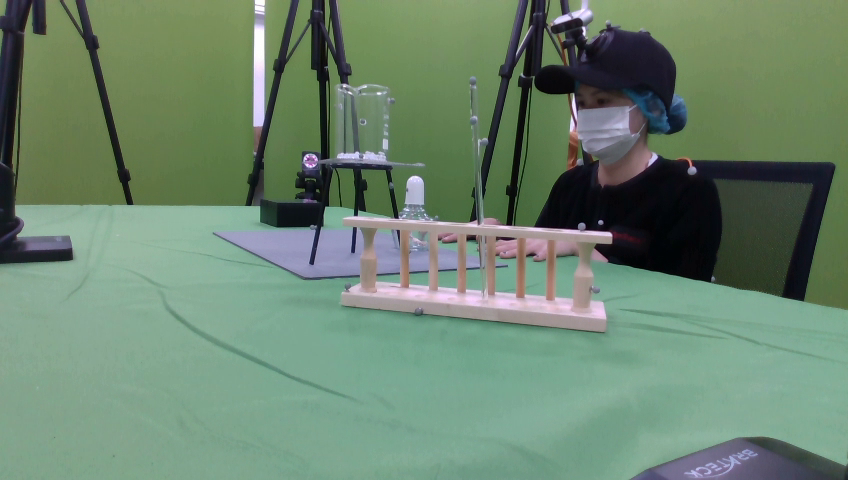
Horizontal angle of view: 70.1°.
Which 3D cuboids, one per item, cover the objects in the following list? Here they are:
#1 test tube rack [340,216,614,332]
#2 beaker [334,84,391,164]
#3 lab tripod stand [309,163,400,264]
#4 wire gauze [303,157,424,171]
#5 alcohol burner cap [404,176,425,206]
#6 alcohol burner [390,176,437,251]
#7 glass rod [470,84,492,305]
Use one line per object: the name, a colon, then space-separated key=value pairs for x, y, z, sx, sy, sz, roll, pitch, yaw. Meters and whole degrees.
test tube rack: x=0.048 y=0.026 z=0.568 sx=0.242 sy=0.085 sz=0.067 roll=4 pitch=8 yaw=13
beaker: x=-0.082 y=-0.149 z=0.792 sx=0.074 sy=0.100 sz=0.084 roll=2 pitch=5 yaw=4
lab tripod stand: x=-0.091 y=-0.037 z=0.813 sx=0.148 sy=0.131 sz=0.148 roll=1 pitch=6 yaw=0
wire gauze: x=-0.082 y=-0.101 z=0.799 sx=0.126 sy=0.011 sz=0.121 roll=1 pitch=7 yaw=-30
alcohol burner cap: x=-0.015 y=-0.077 z=0.951 sx=0.034 sy=0.048 sz=0.034 roll=3 pitch=4 yaw=0
alcohol burner: x=-0.016 y=-0.042 z=0.955 sx=0.078 sy=0.119 sz=0.078 roll=4 pitch=5 yaw=0
glass rod: x=0.051 y=-0.036 z=0.535 sx=0.008 sy=0.199 sz=0.008 roll=-5 pitch=10 yaw=1
